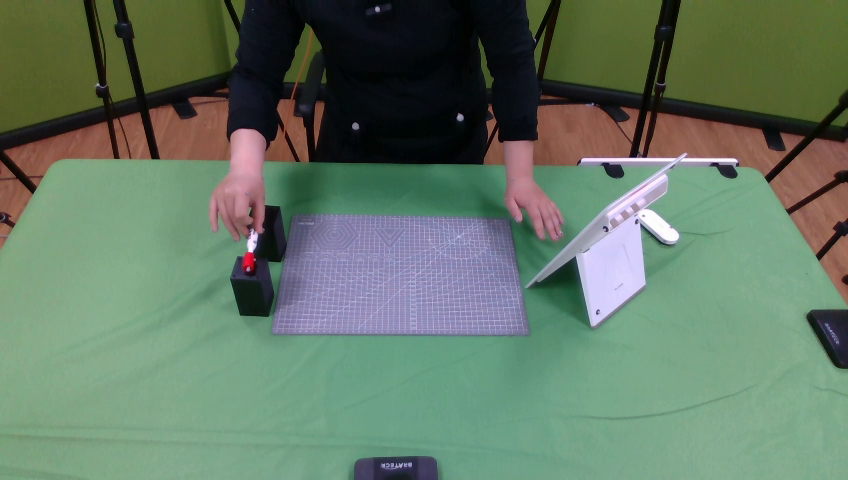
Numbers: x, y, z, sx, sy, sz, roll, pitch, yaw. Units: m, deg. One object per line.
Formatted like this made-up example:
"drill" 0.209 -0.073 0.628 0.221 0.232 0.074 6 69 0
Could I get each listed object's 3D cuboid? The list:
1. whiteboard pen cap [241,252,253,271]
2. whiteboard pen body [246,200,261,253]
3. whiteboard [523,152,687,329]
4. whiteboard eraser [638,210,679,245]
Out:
"whiteboard pen cap" -0.293 0.035 1.004 0.017 0.017 0.032 -2 44 -6
"whiteboard pen body" -0.299 -0.020 1.060 0.017 0.017 0.139 -1 45 -6
"whiteboard" 0.346 0.025 1.046 0.217 0.306 0.143 -30 74 -29
"whiteboard eraser" 0.485 -0.027 1.260 0.041 0.019 0.100 -20 50 -22
